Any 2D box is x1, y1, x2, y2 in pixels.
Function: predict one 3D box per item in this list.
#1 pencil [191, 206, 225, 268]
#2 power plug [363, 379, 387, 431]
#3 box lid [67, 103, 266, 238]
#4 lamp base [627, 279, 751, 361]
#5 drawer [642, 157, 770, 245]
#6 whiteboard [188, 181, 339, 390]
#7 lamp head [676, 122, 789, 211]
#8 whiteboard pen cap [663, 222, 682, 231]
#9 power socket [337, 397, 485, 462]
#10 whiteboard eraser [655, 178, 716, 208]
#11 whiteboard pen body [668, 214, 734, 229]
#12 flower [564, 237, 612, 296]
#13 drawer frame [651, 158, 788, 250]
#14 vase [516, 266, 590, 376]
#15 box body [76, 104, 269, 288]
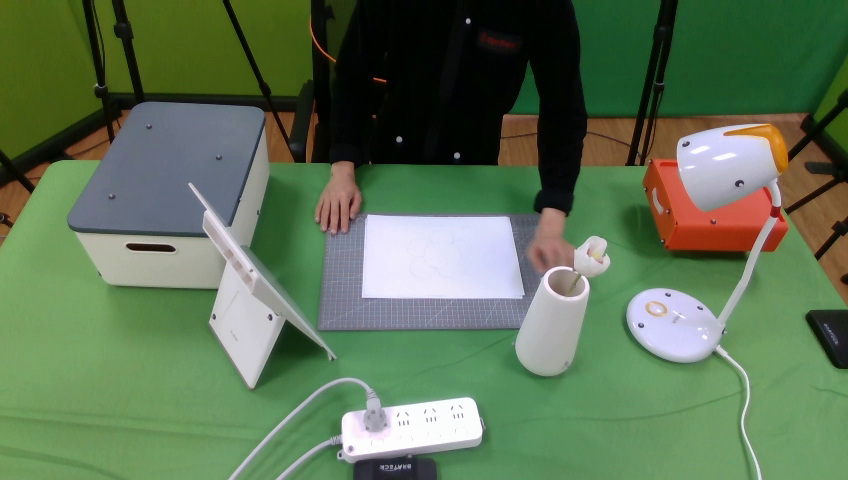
[{"bbox_3d":[-0.419,-0.011,1.184,0.012,0.012,0.193,4,38,0],"label":"pencil"},{"bbox_3d":[-0.072,0.252,0.910,0.035,0.053,0.072,3,45,-1],"label":"power plug"},{"bbox_3d":[-0.447,-0.137,1.093,0.263,0.015,0.369,2,45,-2],"label":"box lid"},{"bbox_3d":[0.459,0.100,1.027,0.178,0.181,0.160,27,51,17],"label":"lamp base"},{"bbox_3d":[0.564,-0.075,1.210,0.212,0.073,0.193,3,45,-1],"label":"drawer"},{"bbox_3d":[-0.292,0.096,0.929,0.144,0.307,0.216,-38,57,-10],"label":"whiteboard"},{"bbox_3d":[0.423,-0.104,0.819,0.122,0.113,0.112,-13,33,40],"label":"lamp head"},{"bbox_3d":[0.488,-0.027,1.188,0.033,0.018,0.018,-1,46,-13],"label":"whiteboard pen cap"},{"bbox_3d":[-0.018,0.285,0.915,0.227,0.033,0.071,-5,46,-8],"label":"power socket"},{"bbox_3d":[0.538,-0.095,1.251,0.113,0.042,0.055,4,52,-10],"label":"whiteboard eraser"},{"bbox_3d":[0.547,-0.035,1.200,0.141,0.017,0.017,-8,48,-9],"label":"whiteboard pen body"},{"bbox_3d":[0.206,0.088,0.892,0.038,0.363,0.044,-16,67,-9],"label":"flower"},{"bbox_3d":[0.571,-0.074,1.213,0.214,0.083,0.200,1,46,0],"label":"drawer frame"},{"bbox_3d":[0.208,0.132,0.964,0.098,0.201,0.097,3,46,-3],"label":"vase"},{"bbox_3d":[-0.450,-0.087,1.149,0.254,0.161,0.361,2,46,-2],"label":"box body"}]
